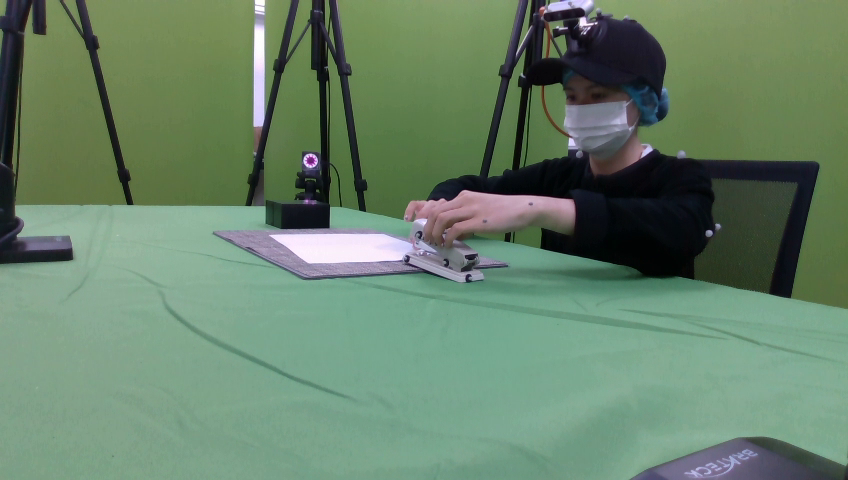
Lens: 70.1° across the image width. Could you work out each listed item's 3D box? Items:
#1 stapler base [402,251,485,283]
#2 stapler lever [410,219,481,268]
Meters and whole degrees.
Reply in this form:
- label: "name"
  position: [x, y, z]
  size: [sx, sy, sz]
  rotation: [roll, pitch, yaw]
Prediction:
- label: "stapler base"
  position: [0.022, 0.027, 0.768]
  size: [0.041, 0.024, 0.130]
  rotation: [-8, 18, -36]
- label: "stapler lever"
  position: [0.025, 0.002, 0.762]
  size: [0.027, 0.040, 0.117]
  rotation: [-8, 18, -36]
